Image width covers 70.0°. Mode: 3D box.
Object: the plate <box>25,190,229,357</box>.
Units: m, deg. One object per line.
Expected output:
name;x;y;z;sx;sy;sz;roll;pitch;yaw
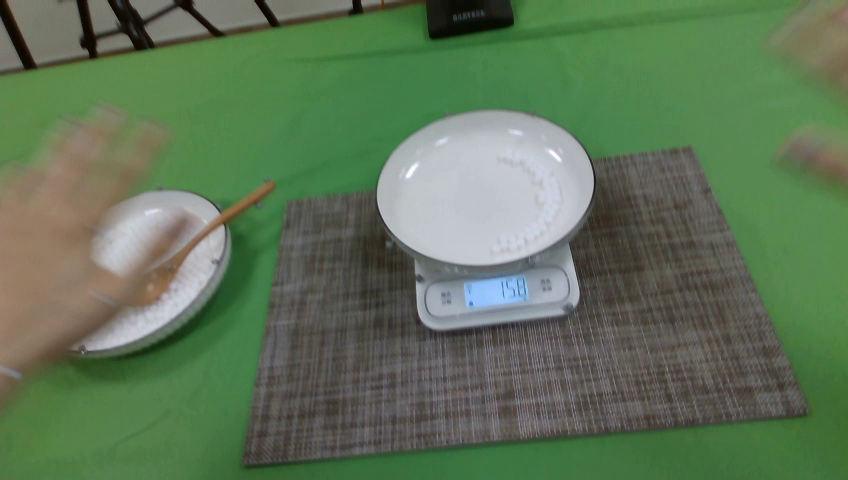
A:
plate;-0.302;0.034;0.634;0.209;0.038;0.207;-5;50;6

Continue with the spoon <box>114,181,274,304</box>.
spoon;-0.232;-0.001;0.627;0.193;0.022;0.041;-43;56;-14

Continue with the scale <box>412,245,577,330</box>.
scale;0.061;-0.009;0.596;0.148;0.032;0.199;-8;50;5

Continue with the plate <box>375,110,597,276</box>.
plate;0.058;-0.046;0.584;0.207;0.039;0.205;-5;50;6
